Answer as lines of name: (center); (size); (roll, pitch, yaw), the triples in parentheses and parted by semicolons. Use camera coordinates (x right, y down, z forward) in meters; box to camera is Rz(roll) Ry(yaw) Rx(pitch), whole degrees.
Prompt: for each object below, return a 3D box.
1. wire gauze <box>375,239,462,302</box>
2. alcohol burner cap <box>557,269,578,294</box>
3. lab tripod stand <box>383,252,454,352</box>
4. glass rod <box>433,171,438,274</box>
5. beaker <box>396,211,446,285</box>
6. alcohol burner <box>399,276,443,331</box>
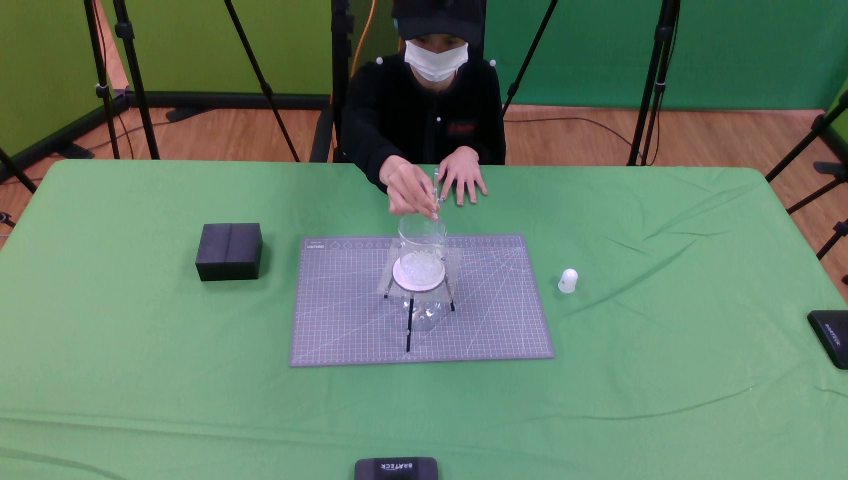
wire gauze: (-0.006, 0.049, 0.977); (0.121, 0.011, 0.124); (10, 44, 5)
alcohol burner cap: (0.270, 0.075, 1.135); (0.034, 0.048, 0.033); (3, 46, -3)
lab tripod stand: (-0.016, 0.094, 1.025); (0.148, 0.132, 0.147); (1, 46, -1)
glass rod: (0.017, -0.020, 0.900); (0.008, 0.201, 0.008); (0, 42, 1)
beaker: (-0.002, 0.017, 0.941); (0.083, 0.101, 0.074); (36, 55, 28)
alcohol burner: (-0.004, 0.101, 1.033); (0.078, 0.119, 0.077); (3, 48, -3)
